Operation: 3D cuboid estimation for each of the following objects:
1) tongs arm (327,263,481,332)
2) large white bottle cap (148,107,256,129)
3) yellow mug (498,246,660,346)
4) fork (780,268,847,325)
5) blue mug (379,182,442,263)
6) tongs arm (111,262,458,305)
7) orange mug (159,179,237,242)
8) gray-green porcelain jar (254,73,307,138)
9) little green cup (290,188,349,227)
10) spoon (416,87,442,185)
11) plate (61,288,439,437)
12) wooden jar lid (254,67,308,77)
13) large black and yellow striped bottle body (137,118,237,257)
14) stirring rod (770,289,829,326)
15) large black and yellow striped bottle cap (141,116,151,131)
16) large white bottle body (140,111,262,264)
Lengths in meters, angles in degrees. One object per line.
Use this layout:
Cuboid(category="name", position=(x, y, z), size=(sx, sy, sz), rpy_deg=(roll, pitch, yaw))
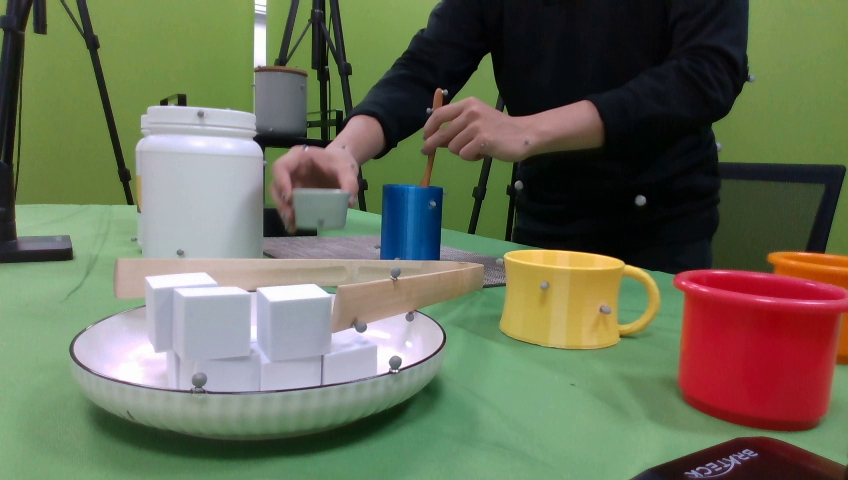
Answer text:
Cuboid(category="tongs arm", position=(-0.003, 0.036, 0.493), size=(0.050, 0.026, 0.386), rpy_deg=(1, -1, 19))
Cuboid(category="large white bottle cap", position=(-0.250, -0.137, 0.686), size=(0.115, 0.018, 0.115), rpy_deg=(3, 8, 0))
Cuboid(category="yellow mug", position=(0.130, 0.045, 0.508), size=(0.131, 0.064, 0.100), rpy_deg=(4, 7, 6))
Cuboid(category="fork", position=(0.324, 0.018, 0.441), size=(0.028, 0.018, 0.207), rpy_deg=(-3, -36, -5))
Cuboid(category="blue mug", position=(-0.019, -0.026, 0.832), size=(0.082, 0.106, 0.116), rpy_deg=(1, 7, -5))
Cuboid(category="tongs arm", position=(-0.080, 0.033, 0.527), size=(0.028, 0.027, 0.389), rpy_deg=(-4, -4, 33))
Cuboid(category="orange mug", position=(-0.368, -0.051, 0.991), size=(0.127, 0.101, 0.083), rpy_deg=(-10, 14, -41))
Cuboid(category="gray-green porcelain jar", position=(-0.298, -0.277, 1.259), size=(0.106, 0.126, 0.106), rpy_deg=(3, 8, 0))
Cuboid(category="little green cup", position=(-0.112, -0.035, 0.646), size=(0.061, 0.038, 0.061), rpy_deg=(2, 7, 0))
Cuboid(category="spoon", position=(0.003, -0.105, 0.802), size=(0.022, 0.193, 0.041), rpy_deg=(1, 16, -43))
Cuboid(category="plate", position=(-0.095, 0.069, 0.362), size=(0.208, 0.039, 0.207), rpy_deg=(3, 7, 0))
Cuboid(category="wooden jar lid", position=(-0.296, -0.339, 1.250), size=(0.108, 0.020, 0.108), rpy_deg=(2, 7, 0))
Cuboid(category="large black and yellow striped bottle body", position=(-0.330, -0.075, 0.849), size=(0.131, 0.184, 0.130), rpy_deg=(2, 8, 0))
Cuboid(category="stirring rod", position=(0.349, 0.022, 0.468), size=(0.014, 0.006, 0.175), rpy_deg=(-12, -26, -50))
Cuboid(category="large black and yellow striped bottle cap", position=(-0.328, -0.158, 0.837), size=(0.115, 0.019, 0.115), rpy_deg=(2, 6, 0))
Cuboid(category="large white bottle body", position=(-0.254, -0.053, 0.697), size=(0.131, 0.184, 0.130), rpy_deg=(2, 7, 0))
